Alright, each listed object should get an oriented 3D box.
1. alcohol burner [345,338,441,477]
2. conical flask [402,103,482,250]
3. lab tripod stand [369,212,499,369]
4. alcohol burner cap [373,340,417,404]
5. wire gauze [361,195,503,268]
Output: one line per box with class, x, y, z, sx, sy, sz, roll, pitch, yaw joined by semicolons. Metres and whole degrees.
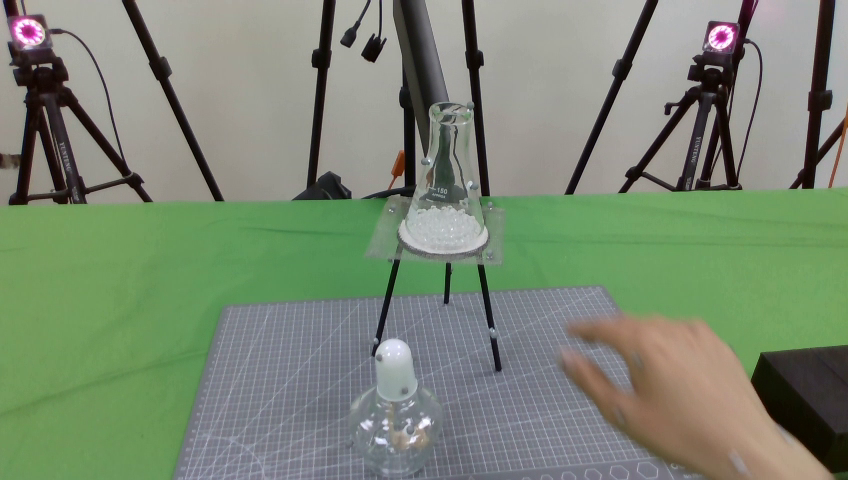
alcohol burner;-0.025;0.129;0.483;0.078;0.120;0.077;1;28;0
conical flask;0.019;-0.058;0.541;0.075;0.123;0.074;2;30;-1
lab tripod stand;0.018;0.050;0.606;0.148;0.132;0.147;3;29;-1
alcohol burner cap;-0.023;0.098;0.464;0.034;0.048;0.033;-4;33;3
wire gauze;0.013;-0.008;0.574;0.121;0.011;0.124;5;32;6
